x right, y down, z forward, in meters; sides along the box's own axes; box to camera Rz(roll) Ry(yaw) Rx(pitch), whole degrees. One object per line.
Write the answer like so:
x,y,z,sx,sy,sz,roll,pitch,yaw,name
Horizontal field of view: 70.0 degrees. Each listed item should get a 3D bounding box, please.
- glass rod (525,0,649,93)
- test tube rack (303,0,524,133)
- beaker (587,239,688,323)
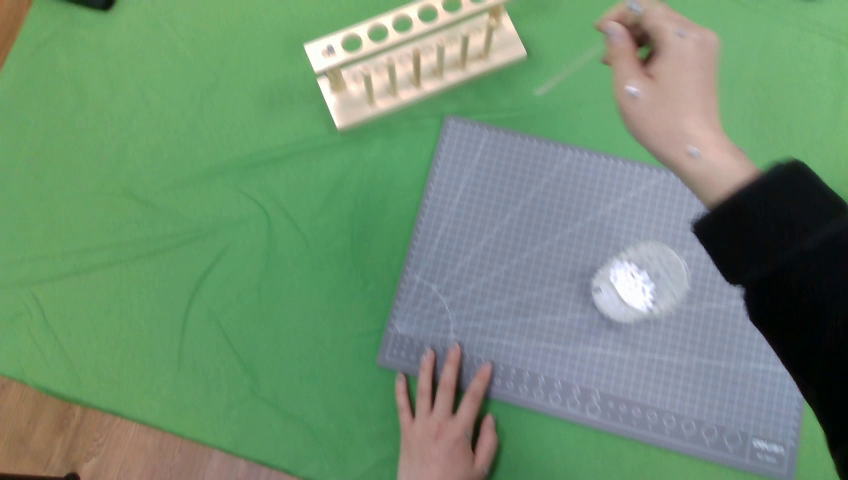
0.123,-0.148,0.453,0.008,0.199,0.008,2,82,-17,glass rod
-0.005,-0.209,0.687,0.242,0.085,0.066,-22,78,-5,test tube rack
0.210,0.046,0.621,0.084,0.100,0.073,4,77,2,beaker
